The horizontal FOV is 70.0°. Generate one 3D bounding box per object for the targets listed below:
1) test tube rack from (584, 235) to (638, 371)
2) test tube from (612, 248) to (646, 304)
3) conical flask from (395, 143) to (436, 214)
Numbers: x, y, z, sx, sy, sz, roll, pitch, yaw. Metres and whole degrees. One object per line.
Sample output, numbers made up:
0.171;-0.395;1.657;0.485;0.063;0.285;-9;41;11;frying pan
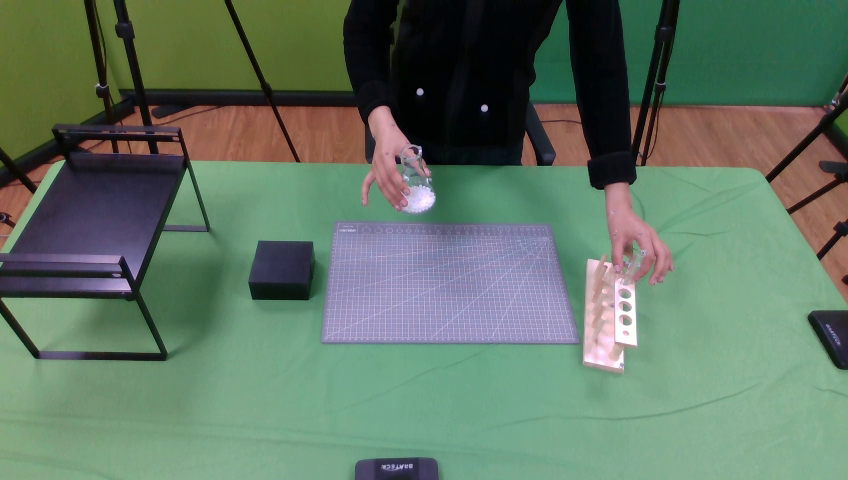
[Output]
0.330;0.103;1.073;0.067;0.085;0.241;11;47;6;test tube rack
0.350;0.066;1.042;0.017;0.151;0.017;2;50;-2;test tube
-0.019;-0.110;1.045;0.075;0.122;0.075;-3;50;4;conical flask
